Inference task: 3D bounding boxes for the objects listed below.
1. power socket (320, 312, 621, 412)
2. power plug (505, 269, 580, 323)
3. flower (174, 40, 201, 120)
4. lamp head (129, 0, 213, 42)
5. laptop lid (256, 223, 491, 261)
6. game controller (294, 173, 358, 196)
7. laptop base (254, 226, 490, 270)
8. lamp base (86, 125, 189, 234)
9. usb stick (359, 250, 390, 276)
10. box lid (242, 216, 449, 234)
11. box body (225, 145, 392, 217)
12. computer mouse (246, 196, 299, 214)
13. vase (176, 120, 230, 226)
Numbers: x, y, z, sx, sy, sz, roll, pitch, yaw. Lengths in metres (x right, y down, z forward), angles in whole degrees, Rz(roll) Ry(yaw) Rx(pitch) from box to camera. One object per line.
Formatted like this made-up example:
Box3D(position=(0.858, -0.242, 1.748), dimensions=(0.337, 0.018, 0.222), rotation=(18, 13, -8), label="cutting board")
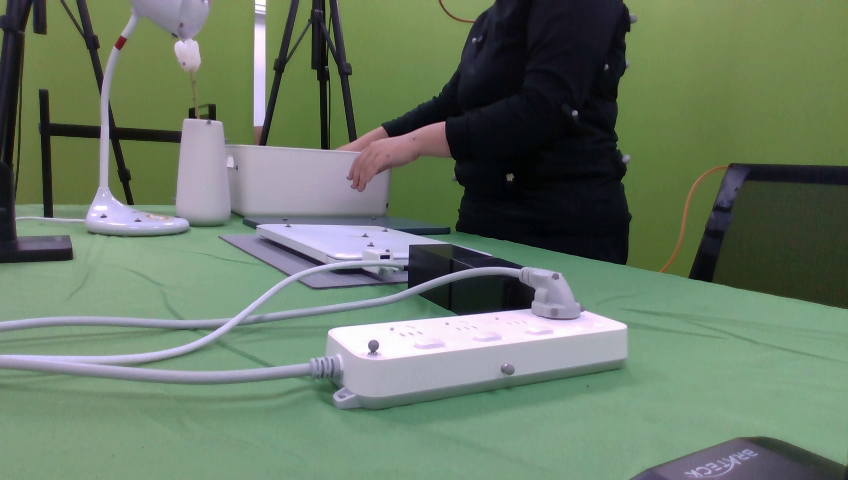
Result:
Box3D(position=(0.038, 0.075, 0.409), dimensions=(0.228, 0.032, 0.072), rotation=(-2, 8, -29), label="power socket")
Box3D(position=(0.092, 0.051, 0.470), dimensions=(0.035, 0.052, 0.072), rotation=(0, 6, -16), label="power plug")
Box3D(position=(-0.430, -0.211, 1.165), dimensions=(0.044, 0.361, 0.038), rotation=(-10, -5, -23), label="flower")
Box3D(position=(-0.423, -0.394, 0.980), dimensions=(0.123, 0.112, 0.112), rotation=(20, 7, -3), label="lamp head")
Box3D(position=(-0.092, 0.000, 0.912), dimensions=(0.243, 0.013, 0.355), rotation=(1, 7, -30), label="laptop lid")
Box3D(position=(-0.255, -0.140, 1.533), dimensions=(0.155, 0.051, 0.097), rotation=(-1, 12, 18), label="game controller")
Box3D(position=(-0.095, 0.011, 0.912), dimensions=(0.237, 0.023, 0.352), rotation=(3, 6, -32), label="laptop base")
Box3D(position=(-0.497, -0.105, 1.027), dimensions=(0.179, 0.180, 0.160), rotation=(1, 7, 3), label="lamp base")
Box3D(position=(-0.061, 0.026, 0.709), dimensions=(0.021, 0.027, 0.059), rotation=(-2, 3, -29), label="usb stick")
Box3D(position=(-0.162, -0.030, 1.233), dimensions=(0.373, 0.015, 0.262), rotation=(-1, 8, -32), label="box lid")
Box3D(position=(-0.289, -0.143, 1.475), dimensions=(0.366, 0.160, 0.253), rotation=(-1, 9, -29), label="box body")
Box3D(position=(-0.355, -0.083, 1.418), dimensions=(0.117, 0.041, 0.063), rotation=(0, 9, 7), label="computer mouse")
Box3D(position=(-0.425, -0.128, 1.159), dimensions=(0.098, 0.200, 0.098), rotation=(2, 9, 0), label="vase")
